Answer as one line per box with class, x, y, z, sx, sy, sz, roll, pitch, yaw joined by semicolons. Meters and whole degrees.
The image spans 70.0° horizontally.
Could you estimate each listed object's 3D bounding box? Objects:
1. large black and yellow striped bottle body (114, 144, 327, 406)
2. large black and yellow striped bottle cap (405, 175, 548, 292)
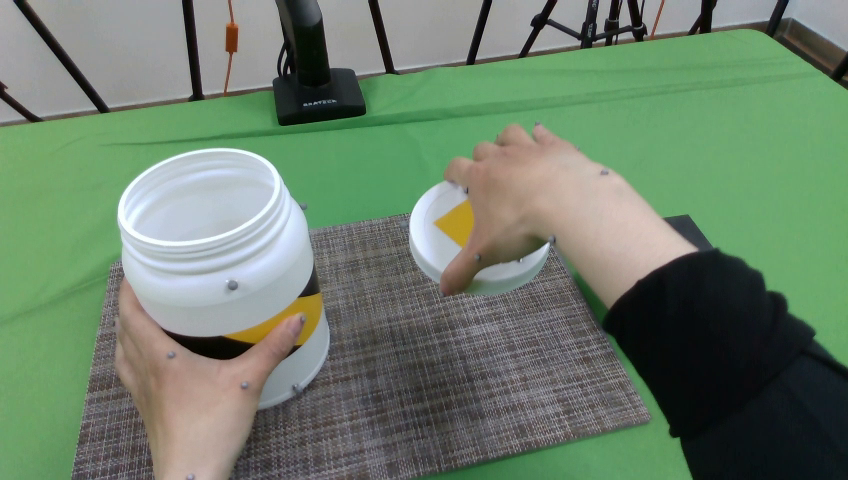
large black and yellow striped bottle body;-0.153;0.030;0.476;0.131;0.185;0.129;-1;44;1
large black and yellow striped bottle cap;0.043;-0.009;0.490;0.115;0.019;0.114;0;49;1
